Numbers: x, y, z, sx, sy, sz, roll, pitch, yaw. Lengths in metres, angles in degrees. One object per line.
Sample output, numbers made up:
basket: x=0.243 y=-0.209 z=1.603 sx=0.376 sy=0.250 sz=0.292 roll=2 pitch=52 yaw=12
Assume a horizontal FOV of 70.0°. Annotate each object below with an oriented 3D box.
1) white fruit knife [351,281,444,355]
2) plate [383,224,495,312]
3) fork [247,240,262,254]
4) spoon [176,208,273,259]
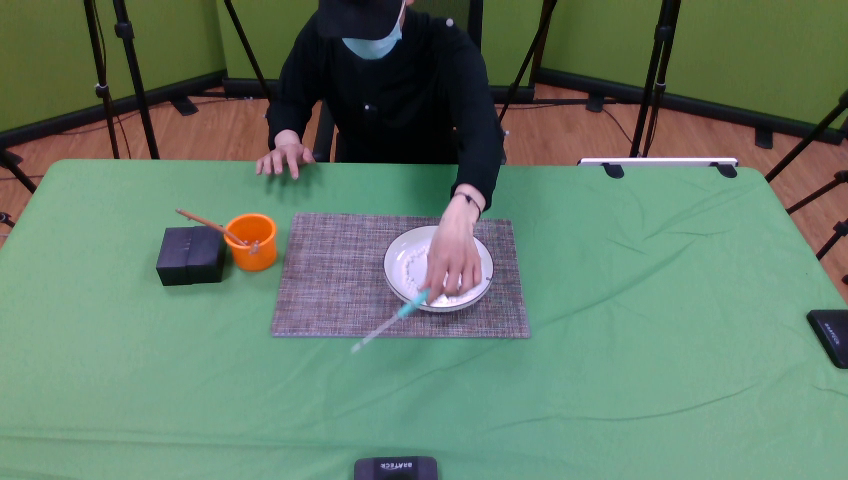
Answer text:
white fruit knife: x=-0.037 y=0.120 z=0.948 sx=0.207 sy=0.027 sz=0.016 roll=-35 pitch=78 yaw=-35
plate: x=0.026 y=0.055 z=1.128 sx=0.209 sy=0.038 sz=0.208 roll=2 pitch=46 yaw=-2
fork: x=-0.301 y=0.011 z=1.075 sx=0.028 sy=0.207 sz=0.018 roll=4 pitch=90 yaw=-15
spoon: x=-0.355 y=-0.010 z=1.088 sx=0.041 sy=0.195 sz=0.021 roll=22 pitch=78 yaw=54
